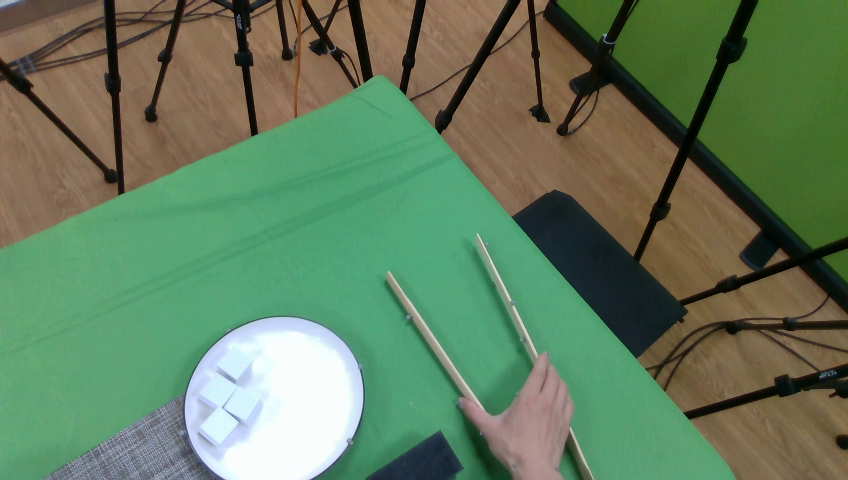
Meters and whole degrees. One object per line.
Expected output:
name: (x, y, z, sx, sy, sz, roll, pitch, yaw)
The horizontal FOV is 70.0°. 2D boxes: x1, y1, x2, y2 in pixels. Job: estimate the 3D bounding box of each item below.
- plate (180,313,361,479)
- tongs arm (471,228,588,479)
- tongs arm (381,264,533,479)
plate: (-0.180, 0.190, 0.729, 0.208, 0.039, 0.206, 4, 61, -7)
tongs arm: (0.124, 0.155, 0.799, 0.051, 0.027, 0.381, -17, 67, -18)
tongs arm: (0.054, 0.183, 0.776, 0.028, 0.028, 0.385, -28, 70, -25)
